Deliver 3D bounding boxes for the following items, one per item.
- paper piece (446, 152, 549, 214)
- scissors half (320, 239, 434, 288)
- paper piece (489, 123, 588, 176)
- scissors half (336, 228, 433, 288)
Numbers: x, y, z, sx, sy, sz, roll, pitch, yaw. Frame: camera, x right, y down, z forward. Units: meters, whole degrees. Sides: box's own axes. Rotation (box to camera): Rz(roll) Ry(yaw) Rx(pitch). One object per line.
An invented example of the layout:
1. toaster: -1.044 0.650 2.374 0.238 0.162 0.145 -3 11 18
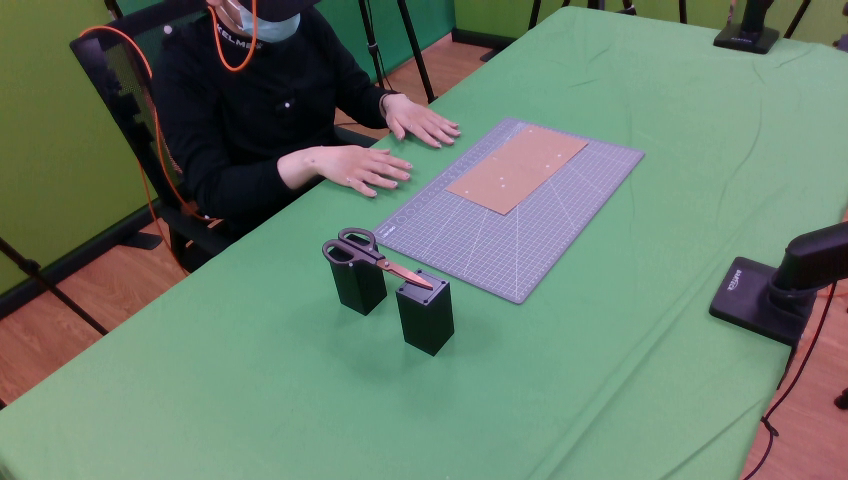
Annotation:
1. paper piece: 0.130 -0.105 1.078 0.134 0.004 0.136 28 52 32
2. scissors half: -0.064 0.033 0.790 0.174 0.013 0.040 17 40 22
3. paper piece: 0.218 -0.176 1.150 0.135 0.009 0.138 30 52 31
4. scissors half: -0.052 0.023 0.803 0.173 0.013 0.040 31 52 34
